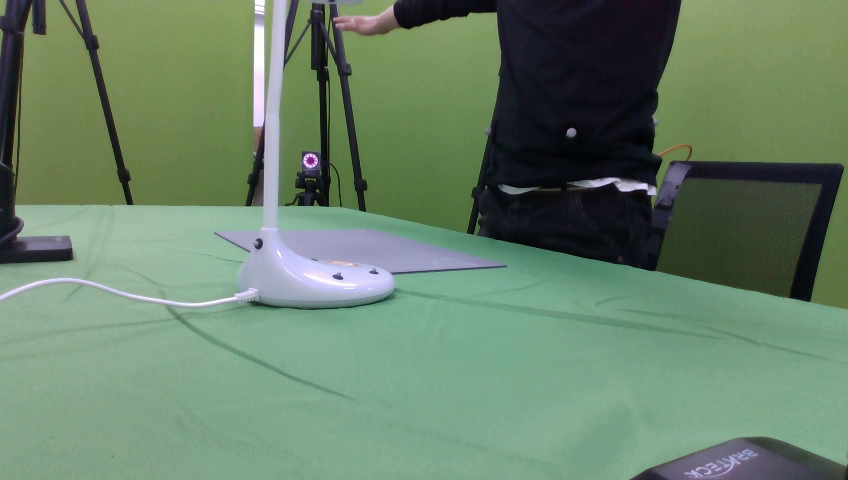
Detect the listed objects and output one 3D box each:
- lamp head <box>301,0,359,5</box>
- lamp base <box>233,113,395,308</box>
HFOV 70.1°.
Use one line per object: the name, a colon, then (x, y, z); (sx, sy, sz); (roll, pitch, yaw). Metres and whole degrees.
lamp head: (-0.095, -0.314, 0.610); (0.112, 0.123, 0.112); (-4, 50, 5)
lamp base: (-0.113, -0.033, 0.600); (0.160, 0.180, 0.180); (6, 11, 28)
